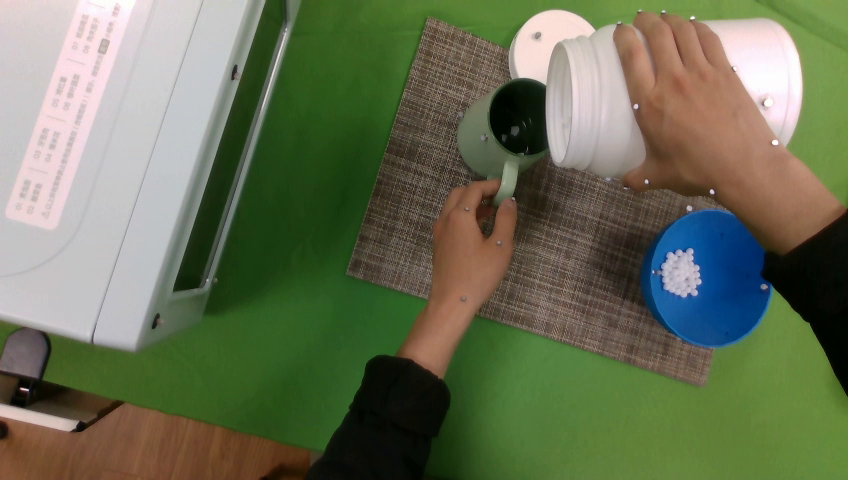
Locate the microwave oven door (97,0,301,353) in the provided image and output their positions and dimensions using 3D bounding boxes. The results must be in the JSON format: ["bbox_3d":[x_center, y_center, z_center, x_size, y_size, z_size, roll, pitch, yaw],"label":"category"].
[{"bbox_3d":[-0.166,-0.095,0.498,0.039,0.243,0.355,17,84,-10],"label":"microwave oven door"}]

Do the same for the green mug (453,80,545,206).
[{"bbox_3d":[0.082,-0.098,0.635,0.093,0.105,0.125,10,86,-12],"label":"green mug"}]

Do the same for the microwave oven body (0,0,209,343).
[{"bbox_3d":[-0.294,-0.178,0.479,0.327,0.259,0.441,17,85,-11],"label":"microwave oven body"}]

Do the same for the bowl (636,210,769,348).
[{"bbox_3d":[0.300,0.044,0.690,0.152,0.076,0.151,1,87,-11],"label":"bowl"}]

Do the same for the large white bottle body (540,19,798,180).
[{"bbox_3d":[0.204,-0.121,0.535,0.185,0.130,0.130,-3,88,0],"label":"large white bottle body"}]

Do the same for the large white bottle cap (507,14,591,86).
[{"bbox_3d":[0.152,-0.203,0.697,0.115,0.018,0.114,2,83,-13],"label":"large white bottle cap"}]
